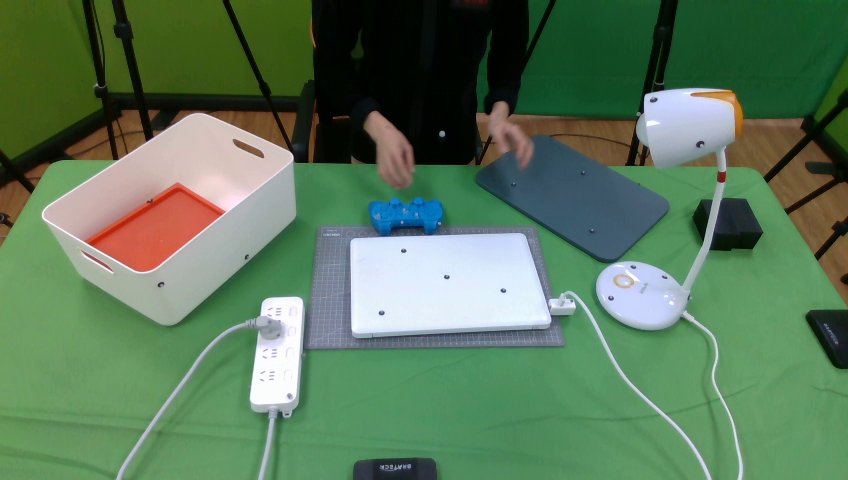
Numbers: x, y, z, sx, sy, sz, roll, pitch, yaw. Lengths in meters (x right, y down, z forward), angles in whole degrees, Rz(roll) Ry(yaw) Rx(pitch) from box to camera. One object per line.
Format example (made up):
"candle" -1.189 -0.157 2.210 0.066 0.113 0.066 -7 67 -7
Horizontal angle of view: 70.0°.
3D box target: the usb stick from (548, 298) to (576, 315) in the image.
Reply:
"usb stick" 0.240 0.119 1.086 0.059 0.027 0.021 -2 51 -2

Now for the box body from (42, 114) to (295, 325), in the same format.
"box body" -0.437 -0.046 1.110 0.253 0.161 0.363 24 49 19

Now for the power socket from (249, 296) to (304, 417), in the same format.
"power socket" -0.239 0.182 0.996 0.072 0.033 0.225 -2 47 -5

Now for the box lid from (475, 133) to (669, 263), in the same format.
"box lid" 0.323 -0.105 1.334 0.369 0.015 0.263 36 54 27

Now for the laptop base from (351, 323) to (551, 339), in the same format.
"laptop base" 0.040 0.080 1.125 0.355 0.023 0.234 -2 43 -6

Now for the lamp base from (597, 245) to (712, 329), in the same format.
"lamp base" 0.418 0.051 1.072 0.179 0.181 0.160 22 49 13

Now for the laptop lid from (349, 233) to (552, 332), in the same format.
"laptop lid" 0.040 0.071 1.118 0.357 0.013 0.240 -1 44 -5

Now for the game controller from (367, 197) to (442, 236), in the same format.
"game controller" -0.037 -0.057 1.231 0.155 0.052 0.096 -2 49 -5

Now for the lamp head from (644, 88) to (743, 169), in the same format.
"lamp head" 0.380 -0.161 0.851 0.122 0.113 0.112 -4 42 25

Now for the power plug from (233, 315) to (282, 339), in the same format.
"power plug" -0.271 0.144 0.999 0.072 0.053 0.035 6 47 3
